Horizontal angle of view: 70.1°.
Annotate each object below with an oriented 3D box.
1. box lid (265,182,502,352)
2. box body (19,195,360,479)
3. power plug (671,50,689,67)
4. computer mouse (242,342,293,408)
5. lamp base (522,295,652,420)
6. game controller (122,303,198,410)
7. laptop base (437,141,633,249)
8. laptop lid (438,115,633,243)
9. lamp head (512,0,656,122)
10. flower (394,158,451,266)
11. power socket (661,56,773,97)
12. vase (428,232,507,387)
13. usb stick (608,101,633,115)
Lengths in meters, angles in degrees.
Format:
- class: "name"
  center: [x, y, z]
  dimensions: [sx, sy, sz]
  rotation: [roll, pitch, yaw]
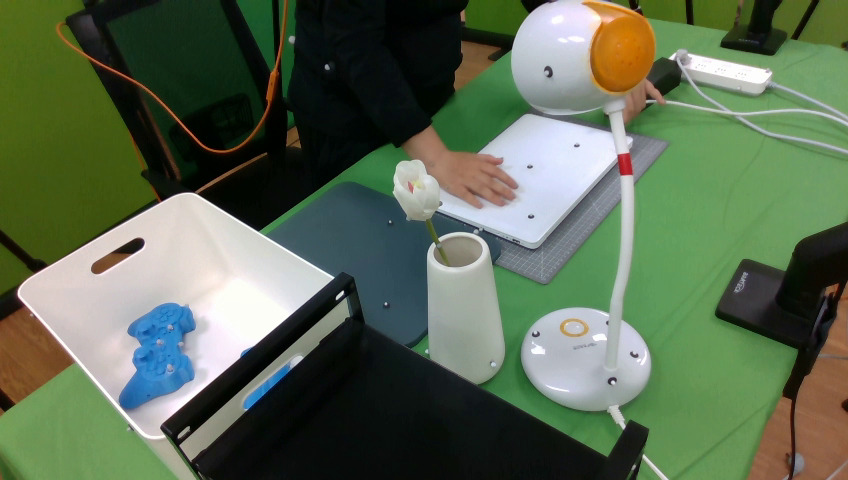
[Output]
- class: "box lid"
  center: [-0.086, 0.023, 0.971]
  dimensions: [0.368, 0.015, 0.264]
  rotation: [23, 49, 31]
- class: "box body"
  center: [-0.287, 0.118, 0.772]
  dimensions: [0.361, 0.161, 0.255]
  rotation: [26, 50, 33]
- class: "power plug"
  center: [0.541, -0.379, 1.302]
  dimensions: [0.073, 0.053, 0.035]
  rotation: [-30, 47, -22]
- class: "computer mouse"
  center: [-0.200, 0.178, 0.776]
  dimensions: [0.063, 0.041, 0.116]
  rotation: [-11, 43, -8]
- class: "lamp base"
  center: [0.201, 0.095, 0.709]
  dimensions: [0.161, 0.181, 0.178]
  rotation: [-16, 43, -10]
- class: "game controller"
  center: [-0.363, 0.149, 0.828]
  dimensions: [0.097, 0.052, 0.154]
  rotation: [-13, 41, -9]
- class: "laptop base"
  center: [0.194, -0.117, 1.087]
  dimensions: [0.233, 0.023, 0.355]
  rotation: [21, 48, 34]
- class: "laptop lid"
  center: [0.190, -0.126, 1.081]
  dimensions: [0.239, 0.013, 0.358]
  rotation: [23, 49, 35]
- class: "lamp head"
  center: [0.156, -0.168, 0.563]
  dimensions: [0.113, 0.113, 0.122]
  rotation: [-18, 23, -12]
- class: "flower"
  center: [0.029, 0.035, 0.664]
  dimensions: [0.043, 0.364, 0.038]
  rotation: [36, 73, 30]
- class: "power socket"
  center: [0.620, -0.352, 1.289]
  dimensions: [0.225, 0.033, 0.072]
  rotation: [26, 51, 33]
- class: "vase"
  center: [0.051, 0.087, 0.728]
  dimensions: [0.098, 0.201, 0.097]
  rotation: [-3, 40, 3]
- class: "usb stick"
  center: [0.362, -0.246, 1.129]
  dimensions: [0.059, 0.027, 0.021]
  rotation: [-5, 10, -24]
